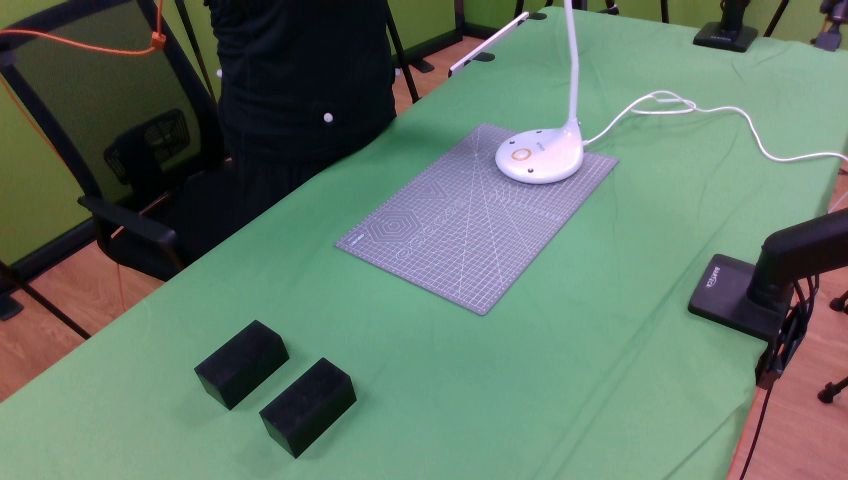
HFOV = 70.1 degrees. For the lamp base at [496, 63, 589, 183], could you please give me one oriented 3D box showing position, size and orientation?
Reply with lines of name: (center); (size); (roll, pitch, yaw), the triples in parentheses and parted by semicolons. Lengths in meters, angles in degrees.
lamp base: (0.216, -0.217, 1.066); (0.180, 0.181, 0.159); (-19, 42, -18)
